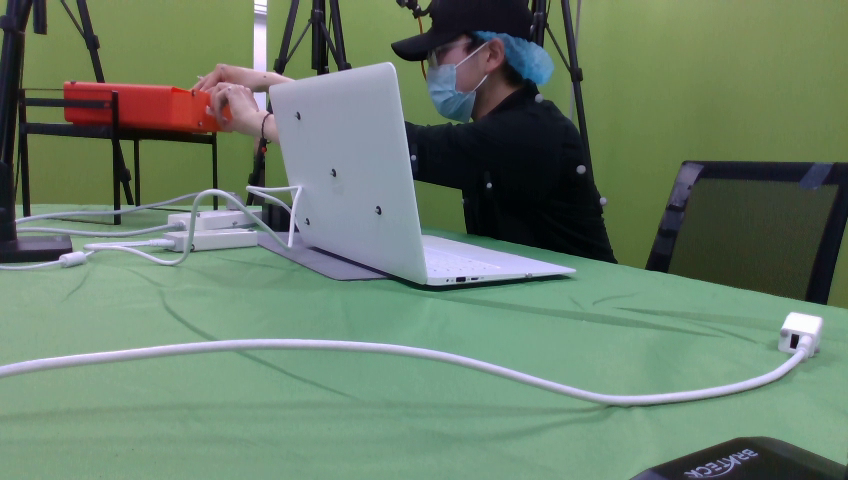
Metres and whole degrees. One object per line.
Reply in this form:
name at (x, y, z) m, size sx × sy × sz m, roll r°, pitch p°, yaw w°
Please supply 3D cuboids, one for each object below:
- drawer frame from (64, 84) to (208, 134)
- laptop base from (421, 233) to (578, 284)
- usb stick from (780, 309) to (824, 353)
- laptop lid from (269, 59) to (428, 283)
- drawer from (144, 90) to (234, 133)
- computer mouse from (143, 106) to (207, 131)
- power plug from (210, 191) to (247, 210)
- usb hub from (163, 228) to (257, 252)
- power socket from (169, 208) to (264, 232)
drawer frame at (-0.557, -0.261, 1.215) m, size 0.213 × 0.082 × 0.201 m, roll 2°, pitch 8°, yaw 3°
laptop base at (0.007, 0.021, 0.850) m, size 0.237 × 0.023 × 0.352 m, roll 1°, pitch 7°, yaw -34°
usb stick at (0.311, 0.072, 0.496) m, size 0.027 × 0.021 × 0.059 m, roll 7°, pitch 15°, yaw 34°
laptop lid at (-0.110, -0.087, 0.752) m, size 0.013 × 0.241 × 0.355 m, roll -18°, pitch 19°, yaw -30°
drawer at (-0.516, -0.258, 1.213) m, size 0.212 × 0.073 × 0.194 m, roll 3°, pitch 8°, yaw 4°
computer mouse at (-0.503, -0.246, 1.223) m, size 0.118 × 0.041 × 0.062 m, roll 4°, pitch 1°, yaw -40°
power plug at (-0.386, -0.070, 1.204) m, size 0.072 × 0.052 × 0.035 m, roll 8°, pitch 10°, yaw 26°
usb hub at (-0.314, 0.000, 0.894) m, size 0.049 × 0.025 × 0.126 m, roll 9°, pitch 10°, yaw 41°
power socket at (-0.380, -0.038, 1.127) m, size 0.072 × 0.032 × 0.227 m, roll 4°, pitch 8°, yaw 16°
